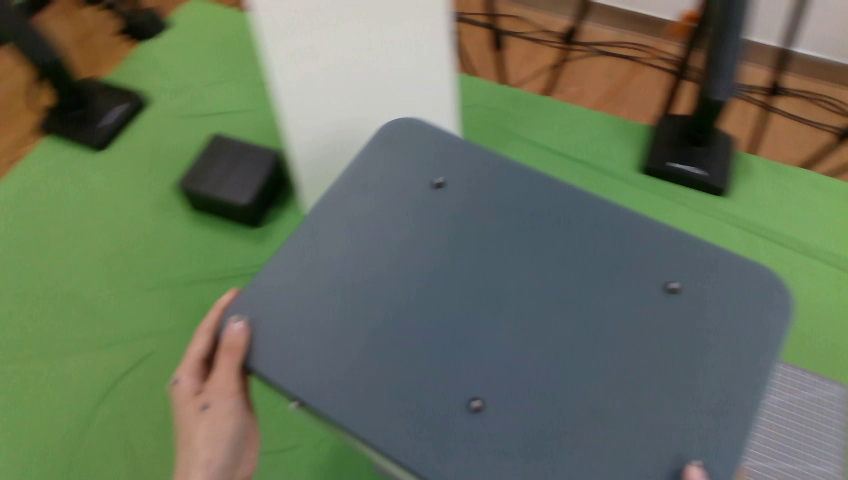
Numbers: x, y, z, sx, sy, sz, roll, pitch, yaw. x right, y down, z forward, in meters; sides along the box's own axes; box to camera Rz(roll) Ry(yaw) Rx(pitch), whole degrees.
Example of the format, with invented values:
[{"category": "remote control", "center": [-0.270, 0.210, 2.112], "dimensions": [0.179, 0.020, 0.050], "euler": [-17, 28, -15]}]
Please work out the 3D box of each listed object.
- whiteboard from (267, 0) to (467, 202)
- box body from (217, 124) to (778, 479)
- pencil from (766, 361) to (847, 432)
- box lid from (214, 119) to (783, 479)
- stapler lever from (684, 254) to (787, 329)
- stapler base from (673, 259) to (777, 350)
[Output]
[{"category": "whiteboard", "center": [-0.065, -0.214, 0.782], "dimensions": [0.217, 0.308, 0.142], "euler": [-9, 37, -6]}, {"category": "box body", "center": [0.059, 0.093, 0.520], "dimensions": [0.362, 0.162, 0.253], "euler": [25, 64, 16]}, {"category": "pencil", "center": [0.431, 0.182, 0.656], "dimensions": [0.012, 0.012, 0.192], "euler": [-34, 60, -22]}, {"category": "box lid", "center": [0.054, 0.054, 0.456], "dimensions": [0.369, 0.015, 0.262], "euler": [26, 63, 16]}, {"category": "stapler lever", "center": [0.359, 0.056, 0.699], "dimensions": [0.027, 0.040, 0.117], "euler": [-32, 61, -21]}, {"category": "stapler base", "center": [0.361, 0.072, 0.720], "dimensions": [0.041, 0.024, 0.129], "euler": [-32, 63, -22]}]
